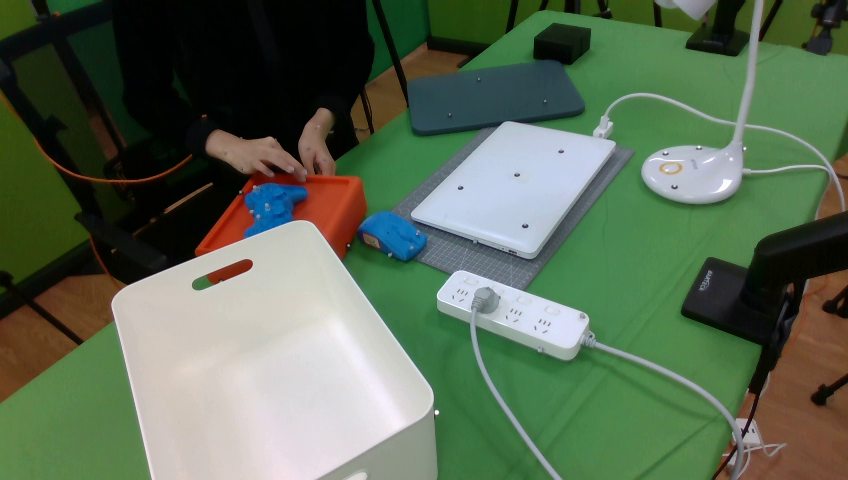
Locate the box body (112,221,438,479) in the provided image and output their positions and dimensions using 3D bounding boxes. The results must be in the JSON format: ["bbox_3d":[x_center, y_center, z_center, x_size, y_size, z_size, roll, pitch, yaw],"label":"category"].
[{"bbox_3d":[-0.170,0.168,0.693,0.255,0.161,0.360,-24,43,-19],"label":"box body"}]

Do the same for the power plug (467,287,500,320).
[{"bbox_3d":[0.073,0.092,0.813,0.035,0.053,0.073,29,54,34],"label":"power plug"}]

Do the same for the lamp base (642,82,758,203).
[{"bbox_3d":[0.464,-0.174,0.992,0.179,0.181,0.159,-5,41,-1],"label":"lamp base"}]

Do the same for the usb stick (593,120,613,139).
[{"bbox_3d":[0.336,-0.201,1.146,0.021,0.027,0.059,25,52,27],"label":"usb stick"}]

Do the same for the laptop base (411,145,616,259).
[{"bbox_3d":[0.168,-0.101,1.073,0.234,0.023,0.355,17,46,30],"label":"laptop base"}]

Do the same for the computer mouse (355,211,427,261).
[{"bbox_3d":[-0.054,-0.010,0.979,0.116,0.041,0.063,27,49,29],"label":"computer mouse"}]

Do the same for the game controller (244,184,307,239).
[{"bbox_3d":[-0.227,-0.038,0.928,0.097,0.052,0.154,-14,40,-4],"label":"game controller"}]

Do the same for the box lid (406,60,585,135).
[{"bbox_3d":[0.150,-0.320,1.340,0.372,0.015,0.261,-8,40,0],"label":"box lid"}]

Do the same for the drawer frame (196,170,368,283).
[{"bbox_3d":[-0.220,-0.020,0.984,0.201,0.083,0.213,5,42,12],"label":"drawer frame"}]

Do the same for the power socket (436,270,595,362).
[{"bbox_3d":[0.118,0.101,0.832,0.225,0.033,0.072,19,48,27],"label":"power socket"}]

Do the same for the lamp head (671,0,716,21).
[{"bbox_3d":[0.375,-0.373,0.807,0.122,0.113,0.112,-40,27,32],"label":"lamp head"}]

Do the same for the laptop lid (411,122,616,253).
[{"bbox_3d":[0.165,-0.111,1.067,0.240,0.013,0.357,19,46,31],"label":"laptop lid"}]

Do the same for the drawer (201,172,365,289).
[{"bbox_3d":[-0.221,-0.021,0.987,0.194,0.073,0.211,5,42,12],"label":"drawer"}]
